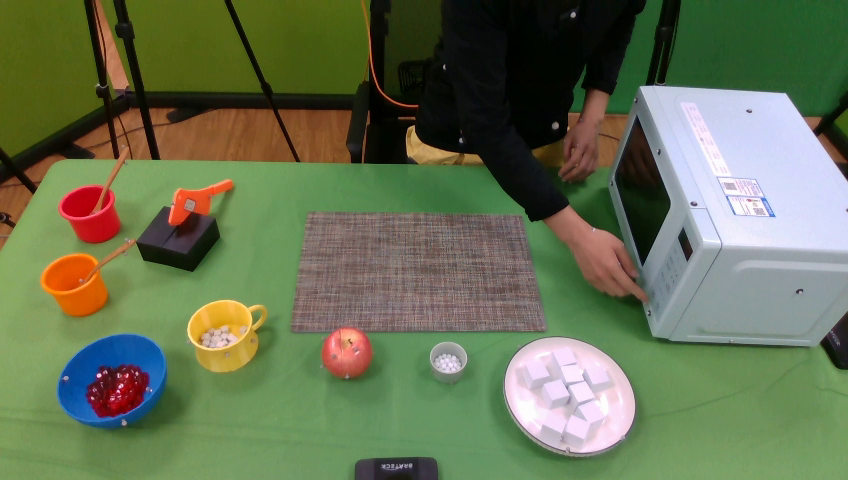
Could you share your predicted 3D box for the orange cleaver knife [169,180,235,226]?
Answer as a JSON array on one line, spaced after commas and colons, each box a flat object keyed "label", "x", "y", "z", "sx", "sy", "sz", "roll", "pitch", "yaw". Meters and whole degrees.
[{"label": "orange cleaver knife", "x": -0.436, "y": -0.076, "z": 1.199, "sx": 0.012, "sy": 0.077, "sz": 0.211, "roll": 17, "pitch": 17, "yaw": 9}]

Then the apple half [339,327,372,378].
[{"label": "apple half", "x": -0.111, "y": 0.182, "z": 0.980, "sx": 0.053, "sy": 0.075, "sz": 0.080, "roll": -2, "pitch": 42, "yaw": -12}]

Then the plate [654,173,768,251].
[{"label": "plate", "x": 0.556, "y": -0.050, "z": 1.187, "sx": 0.209, "sy": 0.038, "sz": 0.208, "roll": 1, "pitch": 46, "yaw": -1}]

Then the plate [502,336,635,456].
[{"label": "plate", "x": 0.225, "y": 0.248, "z": 0.963, "sx": 0.208, "sy": 0.039, "sz": 0.206, "roll": 2, "pitch": 46, "yaw": -2}]

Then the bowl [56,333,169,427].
[{"label": "bowl", "x": -0.456, "y": 0.222, "z": 0.911, "sx": 0.151, "sy": 0.077, "sz": 0.150, "roll": 3, "pitch": 46, "yaw": -2}]

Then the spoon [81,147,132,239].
[{"label": "spoon", "x": -0.603, "y": -0.089, "z": 1.156, "sx": 0.041, "sy": 0.022, "sz": 0.193, "roll": 28, "pitch": 94, "yaw": 18}]

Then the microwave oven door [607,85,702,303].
[{"label": "microwave oven door", "x": 0.423, "y": -0.094, "z": 1.141, "sx": 0.039, "sy": 0.245, "sz": 0.353, "roll": 2, "pitch": 46, "yaw": -1}]

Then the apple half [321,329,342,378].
[{"label": "apple half", "x": -0.149, "y": 0.186, "z": 0.972, "sx": 0.033, "sy": 0.081, "sz": 0.080, "roll": -2, "pitch": 46, "yaw": -12}]

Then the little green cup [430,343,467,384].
[{"label": "little green cup", "x": 0.039, "y": 0.203, "z": 0.993, "sx": 0.061, "sy": 0.039, "sz": 0.061, "roll": 2, "pitch": 46, "yaw": -2}]

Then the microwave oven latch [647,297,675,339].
[{"label": "microwave oven latch", "x": 0.413, "y": 0.134, "z": 1.061, "sx": 0.030, "sy": 0.029, "sz": 0.078, "roll": 5, "pitch": 45, "yaw": 2}]

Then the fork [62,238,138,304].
[{"label": "fork", "x": -0.547, "y": 0.053, "z": 1.019, "sx": 0.207, "sy": 0.019, "sz": 0.028, "roll": -36, "pitch": 41, "yaw": 23}]

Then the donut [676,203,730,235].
[{"label": "donut", "x": 0.537, "y": -0.042, "z": 1.170, "sx": 0.099, "sy": 0.048, "sz": 0.098, "roll": 6, "pitch": 24, "yaw": -2}]

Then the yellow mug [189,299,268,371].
[{"label": "yellow mug", "x": -0.316, "y": 0.148, "z": 1.002, "sx": 0.131, "sy": 0.064, "sz": 0.099, "roll": -33, "pitch": 56, "yaw": -31}]

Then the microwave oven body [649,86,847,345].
[{"label": "microwave oven body", "x": 0.568, "y": -0.053, "z": 1.118, "sx": 0.326, "sy": 0.261, "sz": 0.439, "roll": 2, "pitch": 45, "yaw": -1}]
